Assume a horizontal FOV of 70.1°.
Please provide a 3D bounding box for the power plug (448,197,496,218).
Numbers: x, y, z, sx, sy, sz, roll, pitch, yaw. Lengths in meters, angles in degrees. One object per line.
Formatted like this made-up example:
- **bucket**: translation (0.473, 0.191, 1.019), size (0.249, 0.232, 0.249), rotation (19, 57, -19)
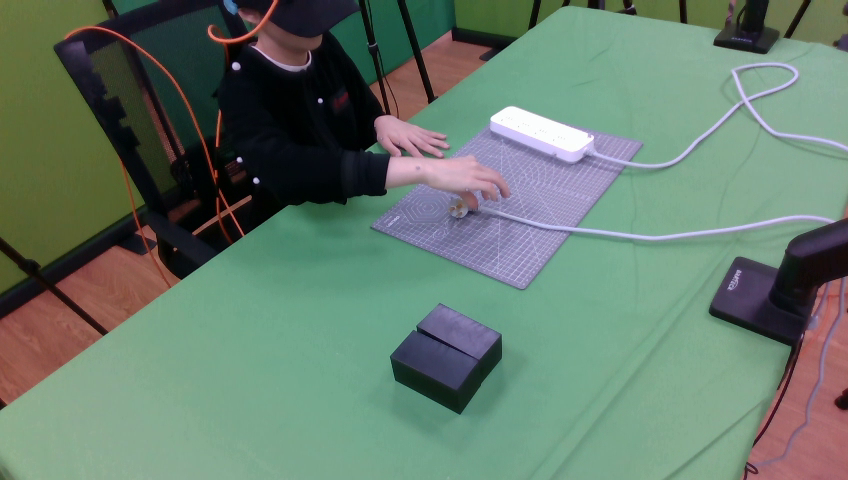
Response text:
- **power plug**: translation (0.076, -0.055, 1.009), size (0.072, 0.035, 0.053), rotation (1, 23, 27)

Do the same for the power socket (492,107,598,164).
- **power socket**: translation (0.227, -0.205, 1.170), size (0.072, 0.033, 0.225), rotation (-36, 48, -28)
